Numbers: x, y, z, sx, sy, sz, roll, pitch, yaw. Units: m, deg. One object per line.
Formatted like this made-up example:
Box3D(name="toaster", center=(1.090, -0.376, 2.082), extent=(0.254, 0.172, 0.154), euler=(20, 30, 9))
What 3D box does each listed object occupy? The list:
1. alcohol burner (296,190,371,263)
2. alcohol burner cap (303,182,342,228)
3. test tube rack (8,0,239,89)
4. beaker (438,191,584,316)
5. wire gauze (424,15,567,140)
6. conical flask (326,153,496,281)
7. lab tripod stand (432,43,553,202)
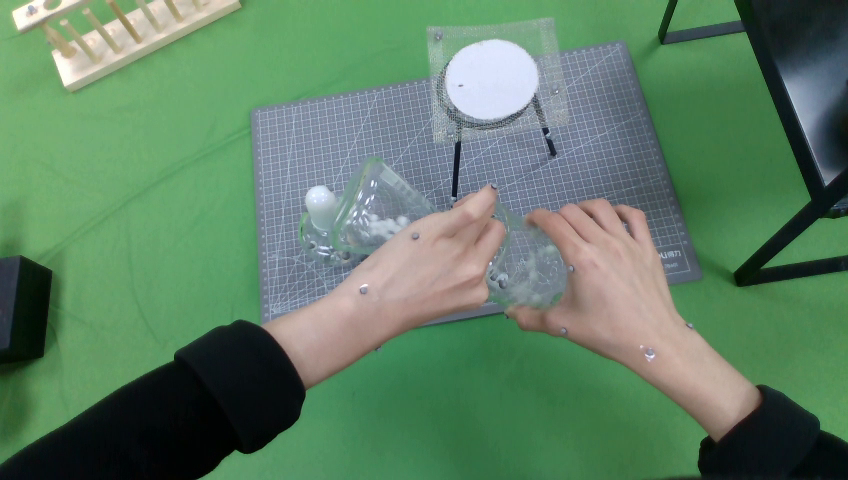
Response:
Box3D(name="alcohol burner", center=(-0.094, -0.021, 0.604), extent=(0.078, 0.120, 0.077), euler=(-1, 67, 4))
Box3D(name="alcohol burner cap", center=(-0.098, -0.036, 0.570), extent=(0.034, 0.048, 0.033), euler=(-2, 62, 3))
Box3D(name="test tube rack", center=(-0.365, -0.290, 0.751), extent=(0.242, 0.086, 0.066), euler=(-29, 69, -5))
Box3D(name="beaker", center=(0.071, 0.017, 0.485), extent=(0.084, 0.101, 0.073), euler=(-45, 39, 28))
Box3D(name="wire gauze", center=(0.063, -0.153, 0.553), extent=(0.121, 0.011, 0.124), euler=(-4, 69, 3))
Box3D(name="conical flask", center=(-0.006, -0.009, 0.457), extent=(0.122, 0.075, 0.075), euler=(25, 71, -17))
Box3D(name="lab tripod stand", center=(0.063, -0.123, 0.615), extent=(0.148, 0.132, 0.147), euler=(-2, 68, 4))
